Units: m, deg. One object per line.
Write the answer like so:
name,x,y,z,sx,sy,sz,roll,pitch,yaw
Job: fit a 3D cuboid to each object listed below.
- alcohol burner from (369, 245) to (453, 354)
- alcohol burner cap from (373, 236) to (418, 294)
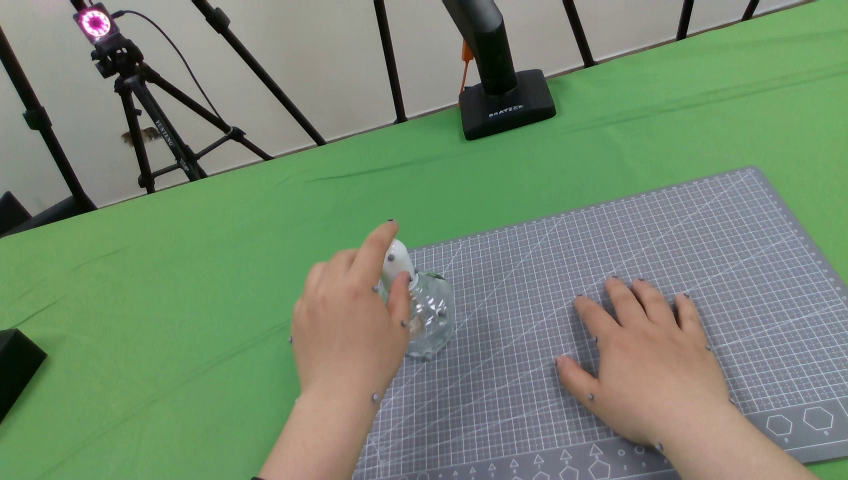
alcohol burner,-0.016,0.044,0.524,0.078,0.120,0.077,-11,41,11
alcohol burner cap,-0.025,0.018,0.501,0.034,0.048,0.033,-8,41,7
